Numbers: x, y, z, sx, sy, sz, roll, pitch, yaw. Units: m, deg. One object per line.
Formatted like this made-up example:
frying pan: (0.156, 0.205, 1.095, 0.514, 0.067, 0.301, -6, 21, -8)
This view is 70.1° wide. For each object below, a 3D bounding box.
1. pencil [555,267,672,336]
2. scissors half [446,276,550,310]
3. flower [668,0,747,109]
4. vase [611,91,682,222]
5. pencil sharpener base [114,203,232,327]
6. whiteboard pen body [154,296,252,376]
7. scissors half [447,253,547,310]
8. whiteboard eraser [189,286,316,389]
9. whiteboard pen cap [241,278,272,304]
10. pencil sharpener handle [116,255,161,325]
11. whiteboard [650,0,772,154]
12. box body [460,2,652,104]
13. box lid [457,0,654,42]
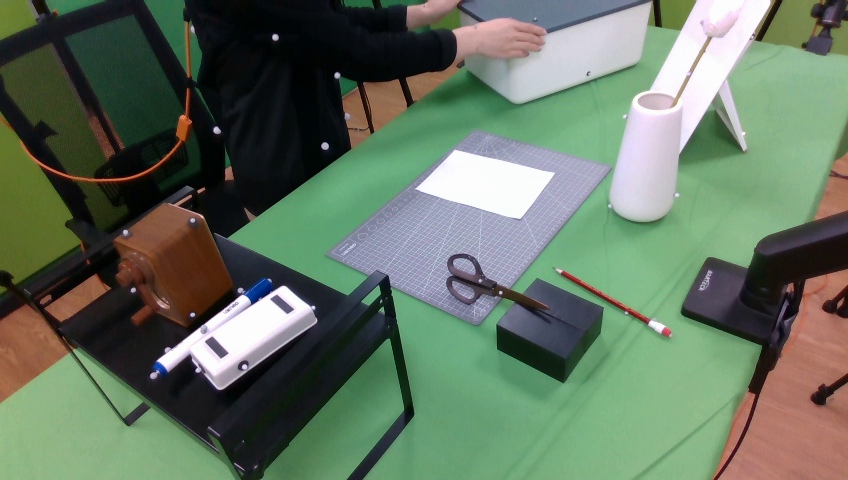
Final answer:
pencil: (0.260, 0.082, 0.850, 0.012, 0.012, 0.192, -33, 46, -27)
scissors half: (0.098, 0.077, 0.827, 0.174, 0.040, 0.013, 6, 14, 44)
flower: (0.354, -0.187, 0.879, 0.038, 0.362, 0.044, 31, 48, 15)
vase: (0.348, -0.125, 0.935, 0.098, 0.201, 0.097, -3, 40, 3)
pencil sharpener base: (-0.262, 0.029, 0.636, 0.061, 0.107, 0.077, 18, 47, 26)
whiteboard pen body: (-0.215, 0.088, 0.619, 0.017, 0.017, 0.141, 19, 42, 28)
scissors half: (0.098, 0.058, 0.821, 0.173, 0.040, 0.013, 27, 33, 36)
whiteboard eraser: (-0.166, 0.096, 0.593, 0.113, 0.042, 0.055, -36, 46, -29)
whiteboard pen cap: (-0.184, 0.057, 0.658, 0.018, 0.018, 0.033, 19, 44, 28)
pencil sharpener handle: (-0.286, 0.050, 0.594, 0.035, 0.068, 0.031, 7, 41, 36)
whiteboard: (0.543, -0.298, 1.076, 0.144, 0.305, 0.216, 12, 40, -7)
box body: (0.291, -0.465, 1.371, 0.365, 0.161, 0.252, -22, 42, -16)
box lid: (0.285, -0.522, 1.323, 0.373, 0.015, 0.261, -22, 43, -16)
